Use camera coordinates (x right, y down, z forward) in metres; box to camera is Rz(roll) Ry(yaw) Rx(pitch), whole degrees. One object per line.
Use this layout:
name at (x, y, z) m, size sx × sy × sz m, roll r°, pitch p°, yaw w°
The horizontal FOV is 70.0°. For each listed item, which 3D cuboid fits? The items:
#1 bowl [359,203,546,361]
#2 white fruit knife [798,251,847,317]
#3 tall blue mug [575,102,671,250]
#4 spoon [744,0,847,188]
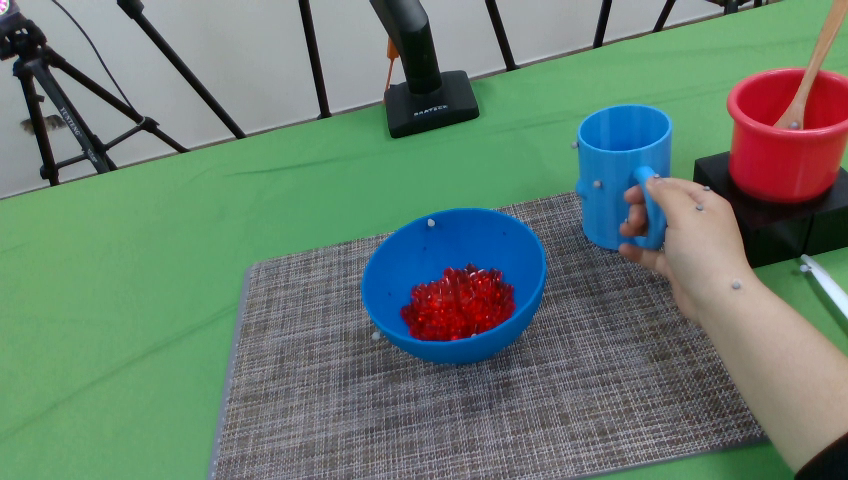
bowl at (0.029, 0.048, 0.505) m, size 0.151 × 0.077 × 0.150 m, roll -9°, pitch 42°, yaw 9°
white fruit knife at (0.328, 0.076, 0.434) m, size 0.027 × 0.016 × 0.205 m, roll 8°, pitch 38°, yaw -14°
tall blue mug at (0.187, -0.050, 0.534) m, size 0.078 × 0.109 × 0.106 m, roll -32°, pitch 42°, yaw -18°
spoon at (0.313, -0.133, 0.490) m, size 0.041 × 0.022 × 0.194 m, roll 26°, pitch 101°, yaw 39°
